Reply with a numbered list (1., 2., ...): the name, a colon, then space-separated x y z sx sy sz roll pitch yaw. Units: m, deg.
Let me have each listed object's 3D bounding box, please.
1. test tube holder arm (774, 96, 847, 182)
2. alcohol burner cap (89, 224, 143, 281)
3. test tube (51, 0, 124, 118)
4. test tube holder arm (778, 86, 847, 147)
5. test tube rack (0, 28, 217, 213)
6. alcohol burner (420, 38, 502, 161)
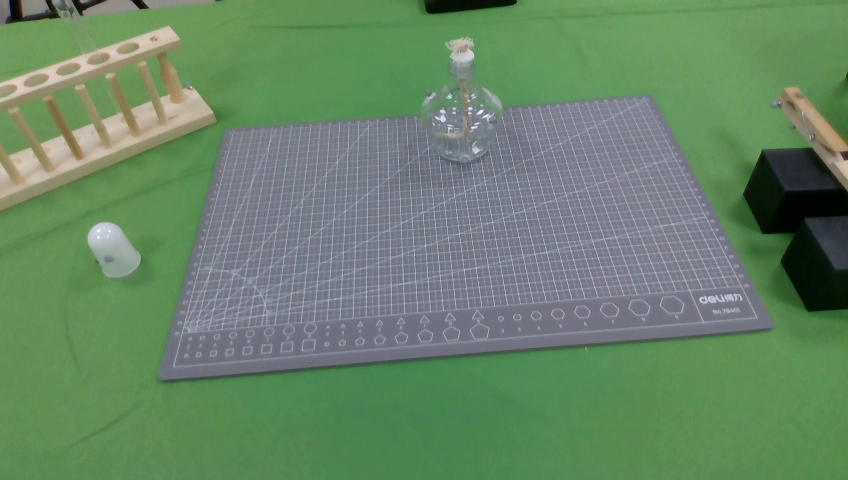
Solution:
1. test tube holder arm: 0.327 -0.066 0.477 0.015 0.013 0.176 -1 45 -5
2. alcohol burner cap: -0.261 0.008 0.507 0.034 0.048 0.033 -2 47 2
3. test tube: -0.323 -0.181 0.585 0.017 0.152 0.017 -4 47 5
4. test tube holder arm: 0.324 -0.101 0.504 0.015 0.010 0.087 -1 46 -6
5. test tube rack: -0.342 -0.118 0.597 0.242 0.086 0.066 -29 52 -21
6. alcohol burner: 0.034 -0.132 0.559 0.078 0.120 0.077 -1 49 2
